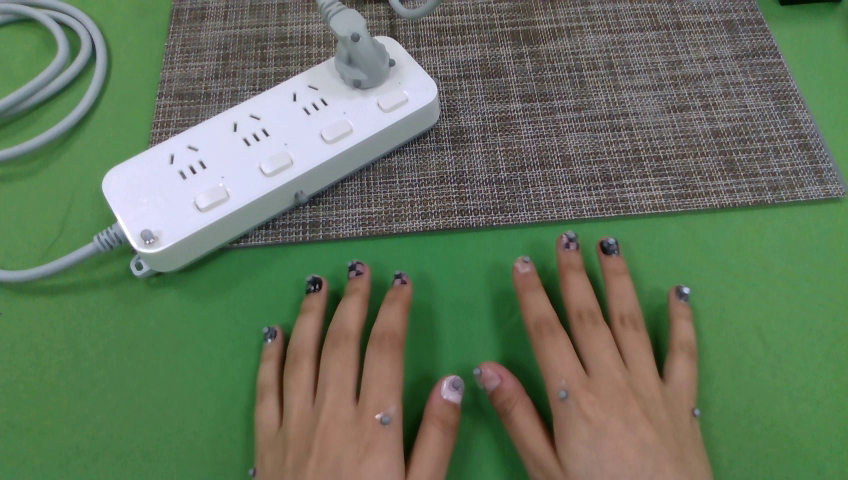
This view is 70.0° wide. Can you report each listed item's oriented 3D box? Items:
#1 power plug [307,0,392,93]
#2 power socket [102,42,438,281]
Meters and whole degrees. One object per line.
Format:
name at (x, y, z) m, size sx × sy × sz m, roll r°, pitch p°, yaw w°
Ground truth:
power plug at (-0.047, -0.126, 0.397) m, size 0.035 × 0.053 × 0.072 m, roll -22°, pitch 65°, yaw -10°
power socket at (-0.091, -0.057, 0.386) m, size 0.227 × 0.033 × 0.071 m, roll -32°, pitch 66°, yaw -15°
